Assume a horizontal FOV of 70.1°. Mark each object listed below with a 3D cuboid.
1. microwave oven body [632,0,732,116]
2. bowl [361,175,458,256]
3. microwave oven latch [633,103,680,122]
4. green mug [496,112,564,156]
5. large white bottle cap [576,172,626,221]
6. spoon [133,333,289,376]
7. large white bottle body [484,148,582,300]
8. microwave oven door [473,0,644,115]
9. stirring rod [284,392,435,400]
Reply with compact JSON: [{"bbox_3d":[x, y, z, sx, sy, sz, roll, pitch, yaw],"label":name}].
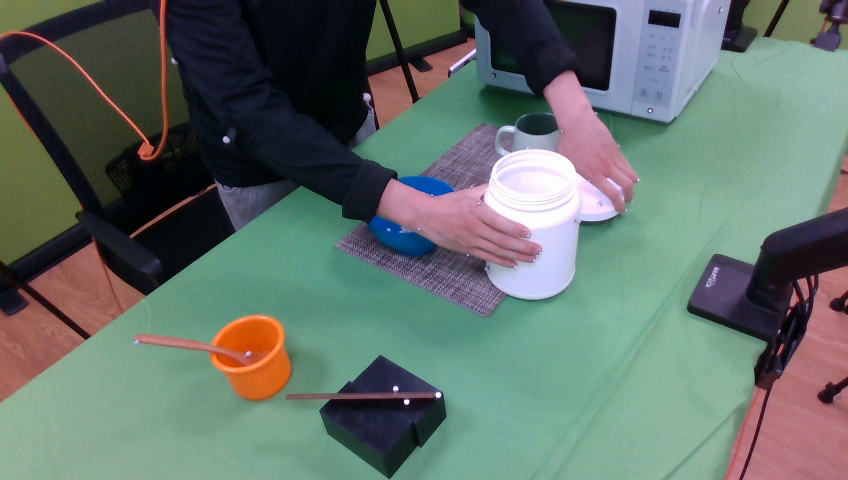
[{"bbox_3d":[0.377,-0.462,1.267,0.438,0.261,0.327,21,48,30],"label":"microwave oven body"},{"bbox_3d":[-0.019,-0.029,0.956,0.151,0.077,0.150,-3,40,3],"label":"bowl"},{"bbox_3d":[0.443,-0.249,1.157,0.078,0.029,0.030,21,48,30],"label":"microwave oven latch"},{"bbox_3d":[0.185,-0.161,1.061,0.124,0.105,0.092,15,46,24],"label":"green mug"},{"bbox_3d":[0.269,-0.072,0.987,0.115,0.018,0.114,-3,41,3],"label":"large white bottle cap"},{"bbox_3d":[-0.257,0.137,0.747,0.021,0.195,0.041,-47,40,23],"label":"spoon"},{"bbox_3d":[0.150,-0.022,0.841,0.130,0.185,0.130,-4,41,4],"label":"large white bottle body"},{"bbox_3d":[0.257,-0.396,1.199,0.353,0.245,0.039,21,48,29],"label":"microwave oven door"},{"bbox_3d":[-0.075,0.180,0.698,0.176,0.006,0.014,-2,6,6],"label":"stirring rod"}]
